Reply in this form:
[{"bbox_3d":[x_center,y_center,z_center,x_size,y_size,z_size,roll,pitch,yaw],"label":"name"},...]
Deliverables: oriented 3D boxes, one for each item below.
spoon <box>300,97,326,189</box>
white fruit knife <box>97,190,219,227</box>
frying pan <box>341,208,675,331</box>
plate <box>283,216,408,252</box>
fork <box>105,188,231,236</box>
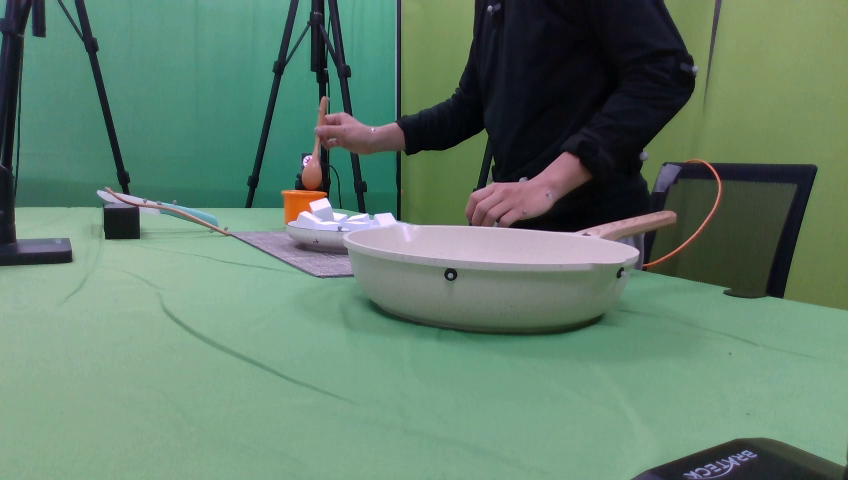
[{"bbox_3d":[-0.223,-0.201,1.244,0.041,0.193,0.021,7,-9,2],"label":"spoon"},{"bbox_3d":[-0.468,-0.057,1.079,0.208,0.027,0.016,16,-2,-29],"label":"white fruit knife"},{"bbox_3d":[0.144,0.008,0.677,0.490,0.102,0.305,-13,16,-36],"label":"frying pan"},{"bbox_3d":[-0.119,-0.010,0.968,0.208,0.039,0.207,3,7,0],"label":"plate"},{"bbox_3d":[-0.428,-0.046,1.021,0.208,0.018,0.028,19,-6,-26],"label":"fork"}]
